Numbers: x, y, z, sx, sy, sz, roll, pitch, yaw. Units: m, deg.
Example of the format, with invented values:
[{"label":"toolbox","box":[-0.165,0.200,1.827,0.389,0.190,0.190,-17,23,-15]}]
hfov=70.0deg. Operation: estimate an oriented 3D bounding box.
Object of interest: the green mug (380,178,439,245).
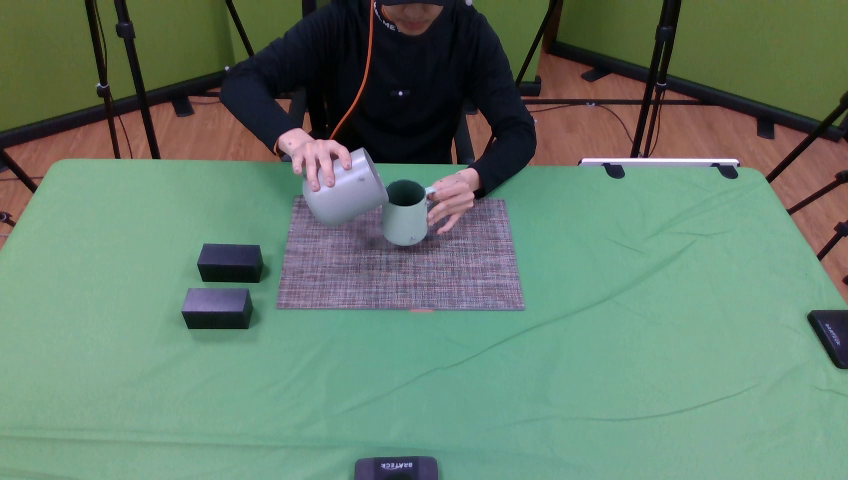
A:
[{"label":"green mug","box":[-0.024,-0.059,1.149,0.125,0.105,0.092,-28,53,-26]}]

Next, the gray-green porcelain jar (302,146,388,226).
[{"label":"gray-green porcelain jar","box":[-0.141,-0.091,1.063,0.126,0.106,0.105,-25,49,4]}]
